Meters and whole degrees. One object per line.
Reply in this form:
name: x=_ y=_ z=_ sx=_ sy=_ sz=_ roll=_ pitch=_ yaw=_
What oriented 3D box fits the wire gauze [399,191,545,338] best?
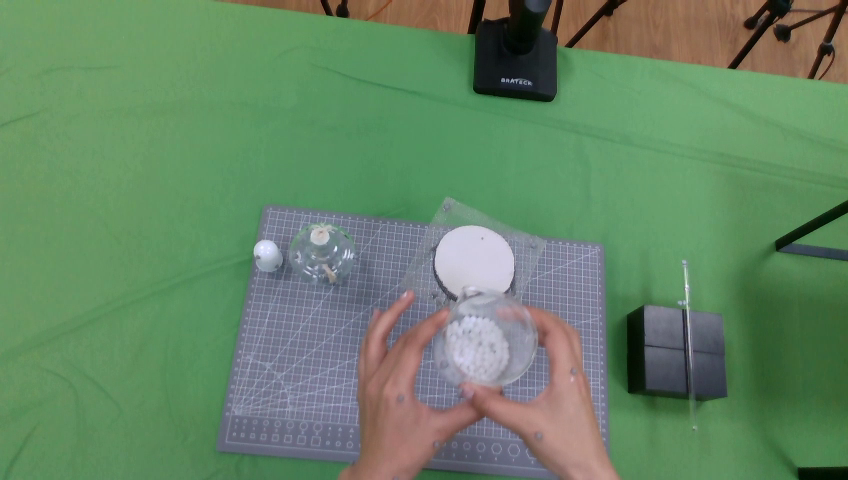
wire gauze: x=0.052 y=0.021 z=0.637 sx=0.125 sy=0.011 sz=0.121 roll=27 pitch=70 yaw=2

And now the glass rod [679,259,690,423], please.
glass rod: x=0.313 y=0.117 z=0.726 sx=0.008 sy=0.008 sz=0.198 roll=8 pitch=71 yaw=-4

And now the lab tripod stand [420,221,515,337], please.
lab tripod stand: x=0.049 y=0.042 z=0.701 sx=0.149 sy=0.132 sz=0.147 roll=3 pitch=69 yaw=-7

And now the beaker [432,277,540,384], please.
beaker: x=0.045 y=0.081 z=0.510 sx=0.074 sy=0.100 sz=0.083 roll=-21 pitch=76 yaw=-13

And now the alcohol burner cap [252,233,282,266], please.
alcohol burner cap: x=-0.190 y=0.010 z=0.730 sx=0.034 sy=0.048 sz=0.033 roll=2 pitch=69 yaw=-5

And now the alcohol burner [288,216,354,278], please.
alcohol burner: x=-0.120 y=0.003 z=0.704 sx=0.078 sy=0.119 sz=0.077 roll=3 pitch=70 yaw=-7
